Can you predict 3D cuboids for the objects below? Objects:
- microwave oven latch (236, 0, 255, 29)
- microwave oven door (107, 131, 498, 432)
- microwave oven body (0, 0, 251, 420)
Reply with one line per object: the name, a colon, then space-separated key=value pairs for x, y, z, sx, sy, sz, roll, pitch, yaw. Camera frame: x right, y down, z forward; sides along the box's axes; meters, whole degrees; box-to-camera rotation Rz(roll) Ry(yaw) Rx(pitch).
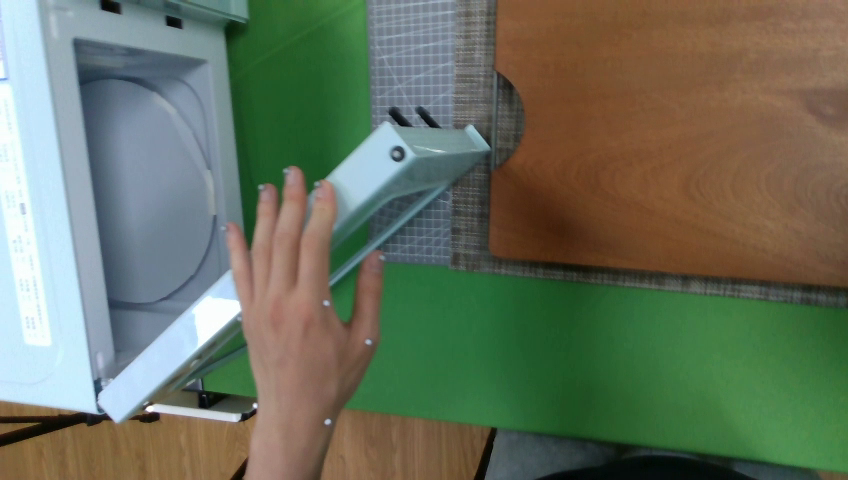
microwave oven latch: x=-0.201 y=-0.269 z=0.646 sx=0.030 sy=0.029 sz=0.079 roll=1 pitch=101 yaw=17
microwave oven door: x=-0.100 y=0.028 z=0.559 sx=0.356 sy=0.244 sz=0.039 roll=-40 pitch=85 yaw=20
microwave oven body: x=-0.366 y=-0.081 z=0.631 sx=0.325 sy=0.260 sz=0.443 roll=1 pitch=100 yaw=17
